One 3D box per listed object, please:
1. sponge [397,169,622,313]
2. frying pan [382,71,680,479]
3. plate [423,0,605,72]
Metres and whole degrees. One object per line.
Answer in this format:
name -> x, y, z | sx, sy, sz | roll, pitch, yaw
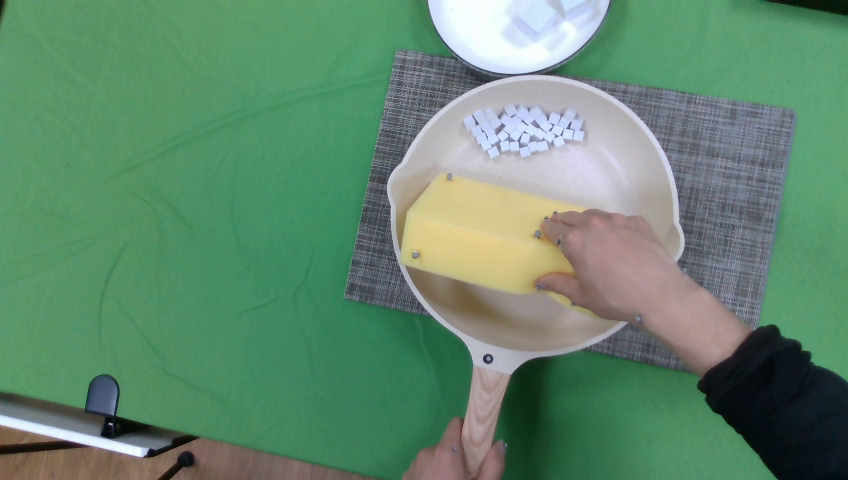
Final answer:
sponge -> 0.091, -0.005, 0.616 | 0.206, 0.117, 0.061 | 14, 119, 9
frying pan -> 0.081, 0.070, 0.631 | 0.306, 0.103, 0.486 | 14, 80, 9
plate -> 0.102, -0.289, 0.689 | 0.207, 0.039, 0.207 | -1, 86, 7
